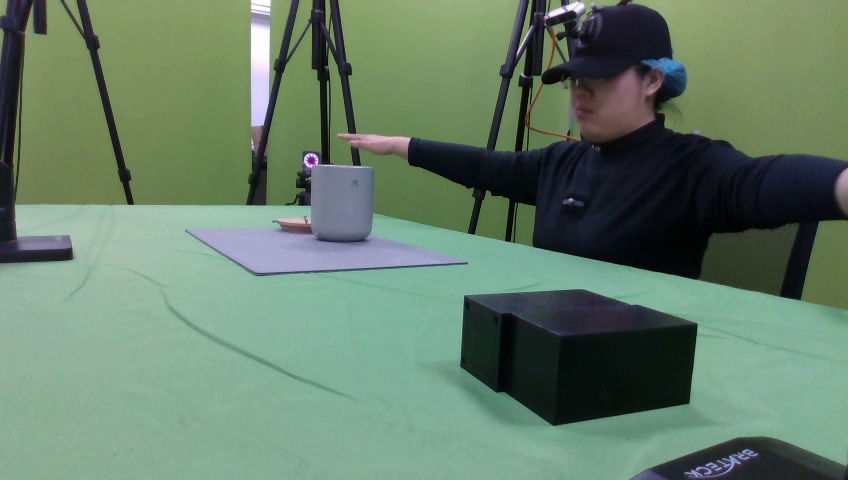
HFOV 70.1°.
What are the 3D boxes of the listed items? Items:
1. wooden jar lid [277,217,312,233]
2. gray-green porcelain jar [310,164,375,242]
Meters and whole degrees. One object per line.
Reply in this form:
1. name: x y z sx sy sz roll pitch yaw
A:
1. wooden jar lid: -0.221 -0.028 1.138 0.108 0.020 0.108 2 9 0
2. gray-green porcelain jar: -0.139 -0.064 1.025 0.106 0.126 0.106 3 8 0
